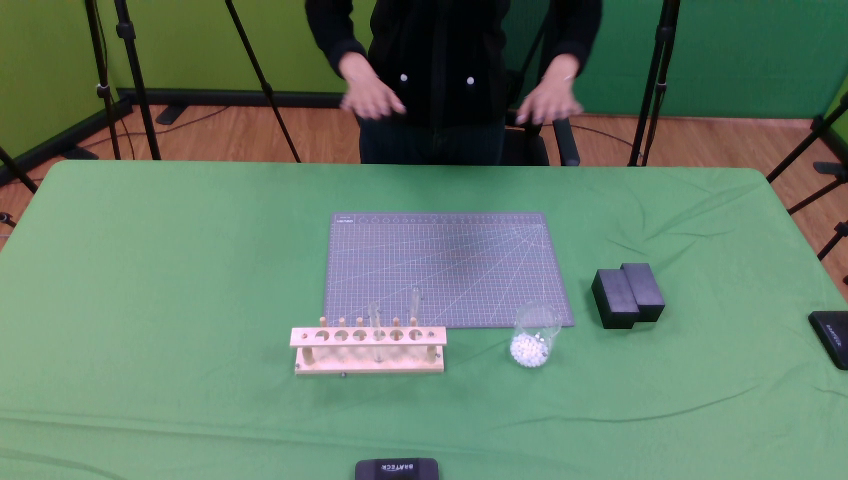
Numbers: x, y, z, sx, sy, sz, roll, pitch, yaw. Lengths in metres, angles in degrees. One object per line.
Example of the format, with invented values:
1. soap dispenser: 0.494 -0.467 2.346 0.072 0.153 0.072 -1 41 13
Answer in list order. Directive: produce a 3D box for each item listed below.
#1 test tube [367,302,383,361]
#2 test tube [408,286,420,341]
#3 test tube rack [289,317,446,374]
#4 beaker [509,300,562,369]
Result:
1. test tube: -0.075 0.145 0.941 0.017 0.151 0.017 0 49 0
2. test tube: -0.017 0.123 0.974 0.017 0.151 0.017 2 48 -2
3. test tube rack: -0.089 0.167 0.988 0.242 0.085 0.066 0 46 -4
4. beaker: 0.182 0.162 1.005 0.074 0.101 0.083 -4 47 -7
